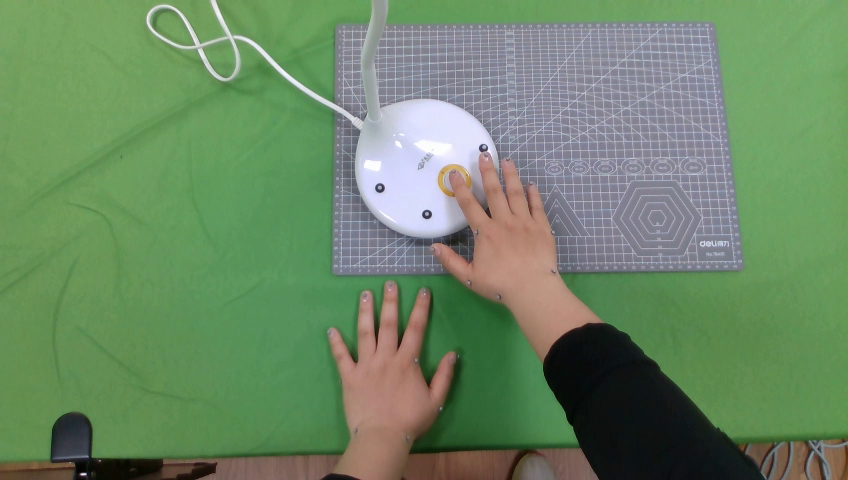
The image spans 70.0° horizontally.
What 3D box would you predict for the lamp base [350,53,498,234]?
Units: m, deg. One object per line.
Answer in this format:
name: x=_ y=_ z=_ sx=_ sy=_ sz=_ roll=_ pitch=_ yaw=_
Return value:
lamp base: x=-0.010 y=-0.106 z=0.596 sx=0.179 sy=0.181 sz=0.160 roll=26 pitch=79 yaw=8
